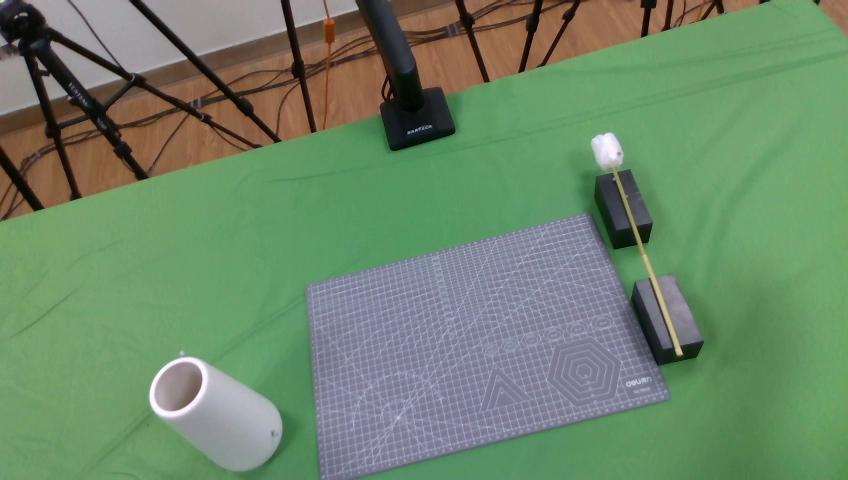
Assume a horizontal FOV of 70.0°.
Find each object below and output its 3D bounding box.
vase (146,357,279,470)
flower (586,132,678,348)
[{"bbox_3d":[-0.250,0.211,0.734,0.098,0.202,0.097,-5,56,7],"label":"vase"},{"bbox_3d":[0.282,-0.015,0.825,0.044,0.038,0.358,9,51,-19],"label":"flower"}]
